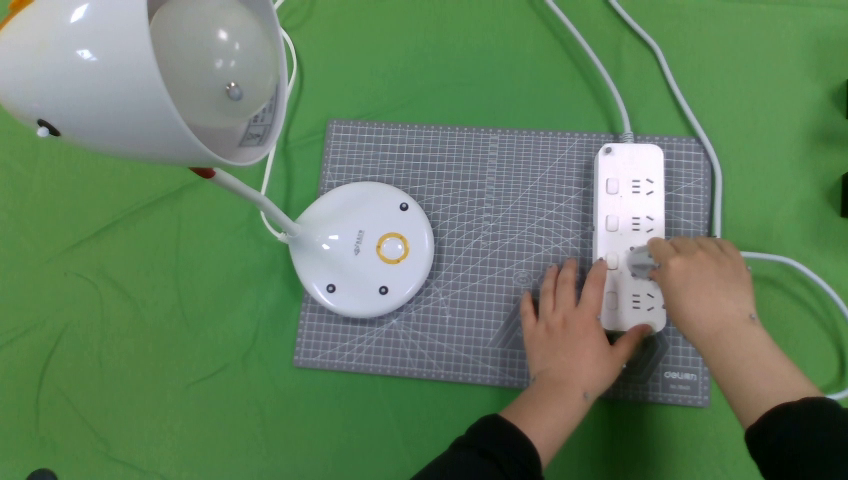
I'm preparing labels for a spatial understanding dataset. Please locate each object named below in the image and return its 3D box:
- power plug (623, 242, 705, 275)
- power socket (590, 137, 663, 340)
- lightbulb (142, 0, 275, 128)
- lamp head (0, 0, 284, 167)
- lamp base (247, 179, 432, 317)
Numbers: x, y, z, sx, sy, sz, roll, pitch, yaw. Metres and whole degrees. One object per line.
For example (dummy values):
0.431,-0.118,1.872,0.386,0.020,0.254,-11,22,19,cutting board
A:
0.246,0.024,0.632,0.072,0.053,0.035,15,80,7,power plug
0.220,-0.006,0.661,0.072,0.033,0.225,3,78,5,power socket
-0.123,-0.084,0.286,0.107,0.060,0.059,5,78,15,lightbulb
-0.144,-0.086,0.299,0.122,0.113,0.112,-4,76,20,lamp head
-0.092,-0.010,0.615,0.179,0.181,0.160,-2,77,8,lamp base
